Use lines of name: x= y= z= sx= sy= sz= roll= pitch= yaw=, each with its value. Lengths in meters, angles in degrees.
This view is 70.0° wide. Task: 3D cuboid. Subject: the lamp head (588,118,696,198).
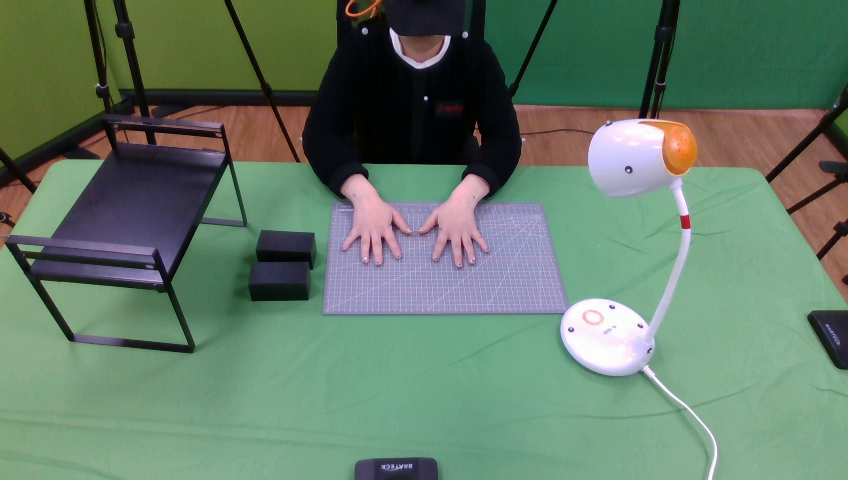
lamp head: x=0.304 y=-0.113 z=0.823 sx=0.112 sy=0.112 sz=0.122 roll=-26 pitch=16 yaw=-25

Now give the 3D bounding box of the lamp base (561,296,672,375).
lamp base: x=0.332 y=0.119 z=0.996 sx=0.160 sy=0.181 sz=0.178 roll=-34 pitch=59 yaw=-31
